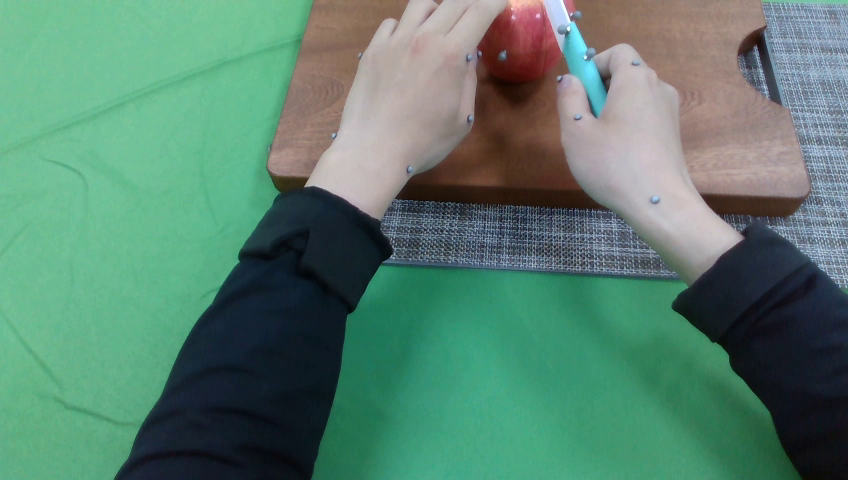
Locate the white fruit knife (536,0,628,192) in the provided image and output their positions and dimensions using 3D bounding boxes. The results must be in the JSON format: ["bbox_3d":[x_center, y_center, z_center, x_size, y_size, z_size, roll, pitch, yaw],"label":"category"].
[{"bbox_3d":[0.097,-0.132,0.418,0.016,0.027,0.206,-15,79,-16],"label":"white fruit knife"}]

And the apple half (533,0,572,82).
[{"bbox_3d":[0.100,-0.167,0.478,0.033,0.082,0.080,-9,59,4],"label":"apple half"}]

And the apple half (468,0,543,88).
[{"bbox_3d":[0.062,-0.161,0.479,0.053,0.075,0.080,-9,63,4],"label":"apple half"}]
